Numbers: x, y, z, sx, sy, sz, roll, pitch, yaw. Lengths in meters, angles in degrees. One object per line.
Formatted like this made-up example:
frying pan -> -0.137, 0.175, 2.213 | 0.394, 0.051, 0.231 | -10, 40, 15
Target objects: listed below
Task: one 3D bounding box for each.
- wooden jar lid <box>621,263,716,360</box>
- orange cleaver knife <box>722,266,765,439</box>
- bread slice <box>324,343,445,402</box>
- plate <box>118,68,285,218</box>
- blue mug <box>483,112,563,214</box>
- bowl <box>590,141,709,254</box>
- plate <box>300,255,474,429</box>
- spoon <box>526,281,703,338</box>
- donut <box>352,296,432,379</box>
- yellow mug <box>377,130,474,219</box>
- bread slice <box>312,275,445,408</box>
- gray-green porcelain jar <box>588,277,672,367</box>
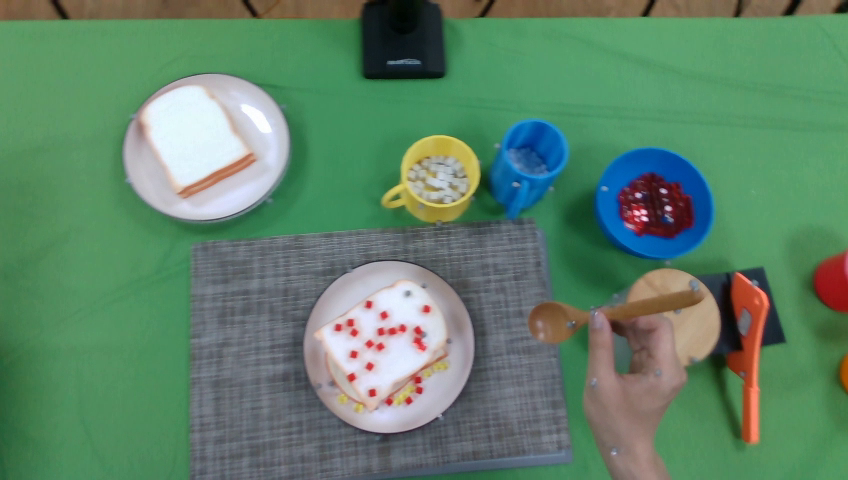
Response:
wooden jar lid -> 0.268, 0.079, 0.671 | 0.108, 0.021, 0.108 | 2, 76, -7
orange cleaver knife -> 0.393, 0.139, 0.753 | 0.012, 0.077, 0.212 | -5, 101, -6
bread slice -> -0.053, 0.133, 0.739 | 0.131, 0.019, 0.104 | -35, 77, -17
plate -> -0.285, -0.124, 0.790 | 0.208, 0.039, 0.206 | 1, 74, -5
blue mug -> 0.121, -0.089, 0.782 | 0.082, 0.106, 0.116 | 16, 73, 0
bowl -> 0.283, -0.046, 0.798 | 0.151, 0.077, 0.150 | 1, 74, -5
plate -> -0.044, 0.122, 0.738 | 0.209, 0.038, 0.208 | 1, 74, -4
spoon -> 0.152, 0.059, 0.516 | 0.022, 0.193, 0.041 | -14, 85, -29
donut -> -0.036, 0.114, 0.712 | 0.099, 0.048, 0.098 | 8, 70, -21
yellow mug -> -0.001, -0.078, 0.788 | 0.131, 0.064, 0.099 | -25, 77, -10
bread slice -> -0.044, 0.103, 0.682 | 0.134, 0.018, 0.107 | -39, 86, -20
gray-green porcelain jar -> 0.264, 0.098, 0.731 | 0.106, 0.127, 0.105 | 1, 74, -5
